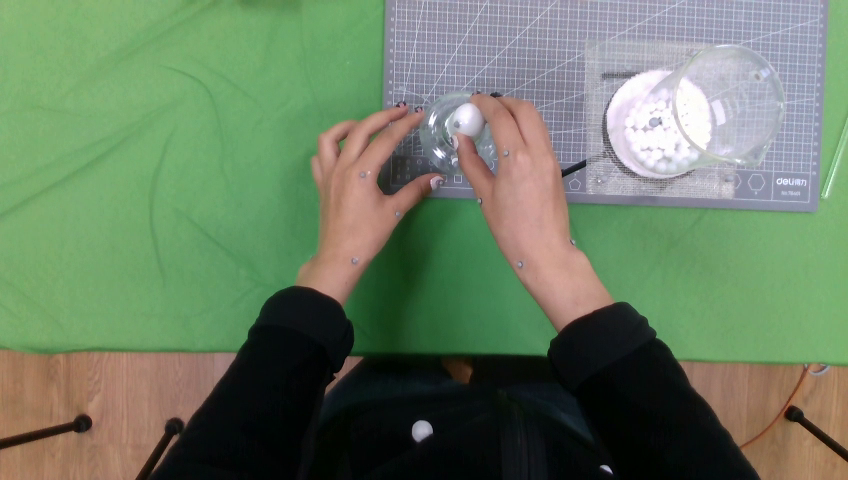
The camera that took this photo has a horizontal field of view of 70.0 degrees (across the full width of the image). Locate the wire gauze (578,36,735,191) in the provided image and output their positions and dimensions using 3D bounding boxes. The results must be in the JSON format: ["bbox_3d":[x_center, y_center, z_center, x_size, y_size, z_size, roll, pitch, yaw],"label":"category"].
[{"bbox_3d":[0.184,-0.100,0.478,0.125,0.011,0.121,1,90,-1],"label":"wire gauze"}]

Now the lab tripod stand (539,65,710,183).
[{"bbox_3d":[0.180,-0.099,0.544,0.148,0.131,0.148,0,91,-2],"label":"lab tripod stand"}]

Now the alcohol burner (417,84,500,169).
[{"bbox_3d":[0.033,-0.105,0.544,0.078,0.119,0.078,0,89,-4],"label":"alcohol burner"}]

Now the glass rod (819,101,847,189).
[{"bbox_3d":[0.441,-0.147,0.624,0.008,0.008,0.199,18,91,-4],"label":"glass rod"}]

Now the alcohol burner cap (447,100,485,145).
[{"bbox_3d":[0.036,-0.100,0.508,0.034,0.048,0.034,0,89,0],"label":"alcohol burner cap"}]

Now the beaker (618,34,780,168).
[{"bbox_3d":[0.189,-0.089,0.431,0.074,0.100,0.084,-31,92,-2],"label":"beaker"}]
